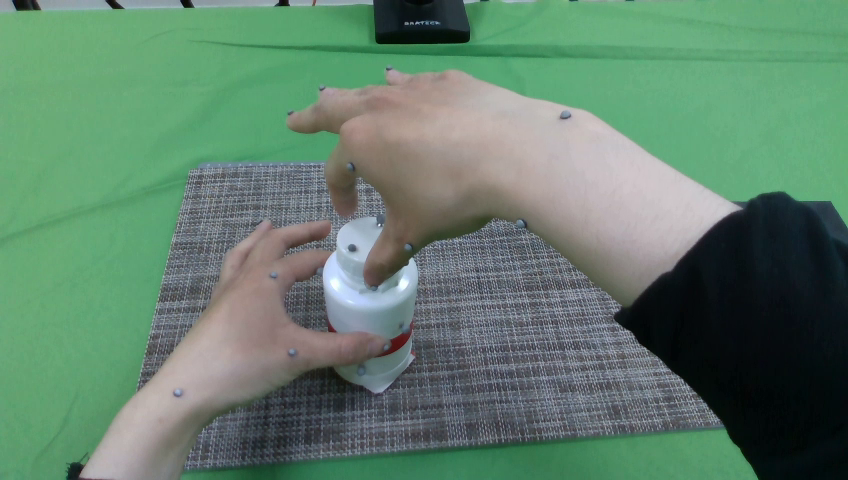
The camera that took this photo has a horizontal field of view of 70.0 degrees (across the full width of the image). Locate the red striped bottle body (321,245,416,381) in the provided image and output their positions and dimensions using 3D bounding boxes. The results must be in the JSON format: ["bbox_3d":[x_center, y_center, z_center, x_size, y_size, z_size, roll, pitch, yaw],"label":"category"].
[{"bbox_3d":[-0.039,0.042,0.420,0.063,0.120,0.062,3,47,-3],"label":"red striped bottle body"}]

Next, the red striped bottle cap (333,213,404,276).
[{"bbox_3d":[-0.034,0.002,0.377,0.044,0.018,0.044,4,40,-3],"label":"red striped bottle cap"}]
